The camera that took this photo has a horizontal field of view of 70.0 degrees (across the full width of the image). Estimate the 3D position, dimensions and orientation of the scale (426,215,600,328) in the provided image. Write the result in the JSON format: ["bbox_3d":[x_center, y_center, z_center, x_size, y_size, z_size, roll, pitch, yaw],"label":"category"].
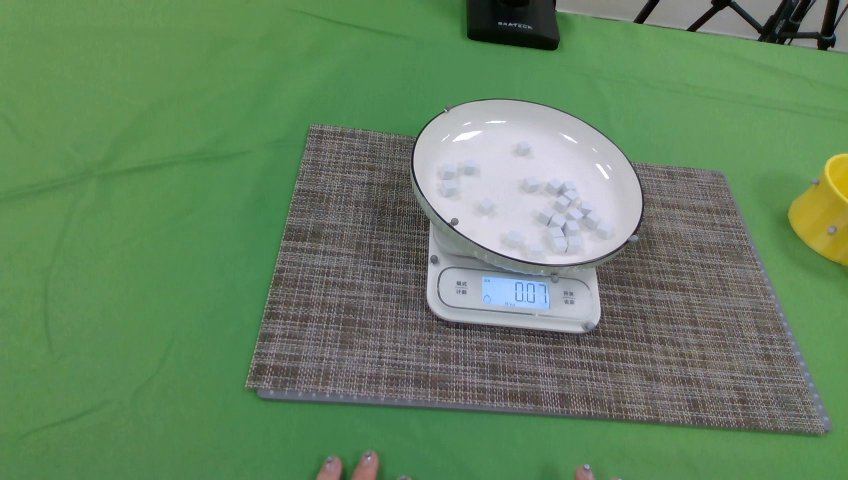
[{"bbox_3d":[0.079,-0.016,0.551,0.149,0.032,0.199,6,51,-4],"label":"scale"}]

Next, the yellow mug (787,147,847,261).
[{"bbox_3d":[0.435,-0.025,0.602,0.100,0.064,0.129,5,51,-6],"label":"yellow mug"}]

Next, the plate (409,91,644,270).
[{"bbox_3d":[0.088,-0.054,0.541,0.209,0.038,0.207,5,51,-6],"label":"plate"}]
